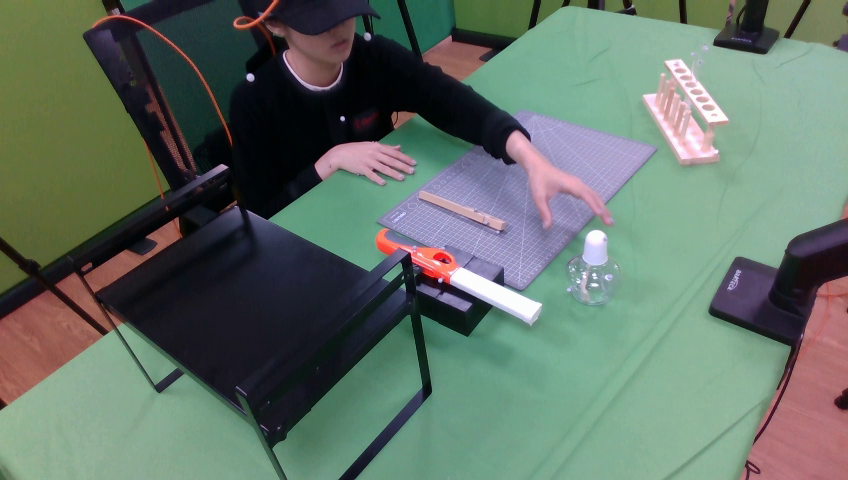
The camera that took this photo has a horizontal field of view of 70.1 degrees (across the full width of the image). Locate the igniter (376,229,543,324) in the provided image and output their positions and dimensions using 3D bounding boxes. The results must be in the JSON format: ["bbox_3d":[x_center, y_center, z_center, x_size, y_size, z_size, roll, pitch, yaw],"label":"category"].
[{"bbox_3d":[0.038,0.044,0.843,0.274,0.025,0.057,25,48,29],"label":"igniter"}]

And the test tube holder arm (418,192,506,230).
[{"bbox_3d":[0.061,-0.052,1.024,0.177,0.015,0.013,22,13,31],"label":"test tube holder arm"}]

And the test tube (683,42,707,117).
[{"bbox_3d":[0.497,-0.292,1.114,0.017,0.151,0.017,-4,44,4],"label":"test tube"}]

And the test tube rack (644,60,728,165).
[{"bbox_3d":[0.485,-0.246,1.140,0.067,0.085,0.241,-5,41,4],"label":"test tube rack"}]

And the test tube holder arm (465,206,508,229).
[{"bbox_3d":[0.100,-0.037,1.005,0.087,0.015,0.010,23,13,32],"label":"test tube holder arm"}]

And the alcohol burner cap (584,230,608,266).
[{"bbox_3d":[0.233,0.007,0.814,0.034,0.048,0.033,-5,40,4],"label":"alcohol burner cap"}]

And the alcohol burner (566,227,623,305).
[{"bbox_3d":[0.236,0.032,0.833,0.078,0.119,0.077,-5,39,5],"label":"alcohol burner"}]
